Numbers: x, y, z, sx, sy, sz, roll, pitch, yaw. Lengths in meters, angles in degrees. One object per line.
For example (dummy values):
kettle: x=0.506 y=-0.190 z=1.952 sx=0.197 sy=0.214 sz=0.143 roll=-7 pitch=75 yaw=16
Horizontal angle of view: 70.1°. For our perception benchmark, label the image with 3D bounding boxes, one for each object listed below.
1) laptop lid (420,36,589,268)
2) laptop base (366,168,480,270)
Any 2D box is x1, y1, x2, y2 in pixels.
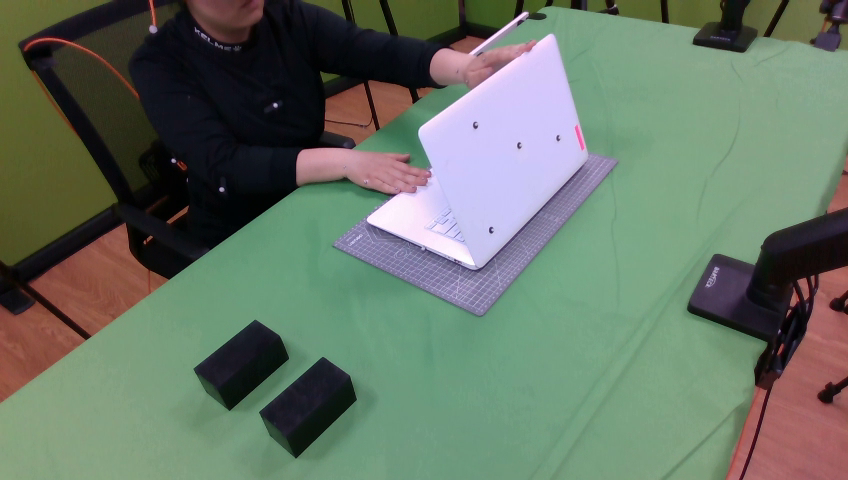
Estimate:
laptop lid: x=0.146 y=-0.147 z=0.944 sx=0.013 sy=0.243 sz=0.358 roll=3 pitch=34 yaw=46
laptop base: x=0.098 y=-0.085 z=1.058 sx=0.233 sy=0.023 sz=0.355 roll=21 pitch=47 yaw=34
